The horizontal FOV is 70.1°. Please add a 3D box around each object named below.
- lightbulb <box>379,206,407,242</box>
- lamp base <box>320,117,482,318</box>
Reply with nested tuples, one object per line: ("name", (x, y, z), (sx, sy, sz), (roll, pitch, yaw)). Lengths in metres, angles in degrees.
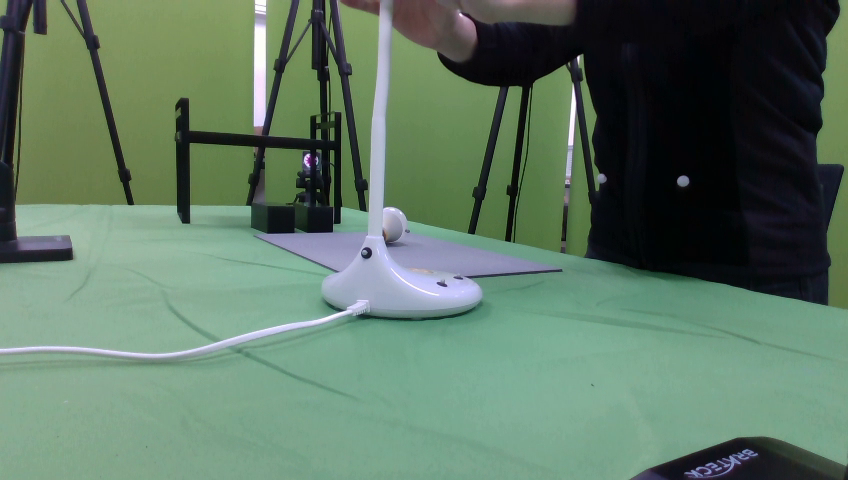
("lightbulb", (-0.067, -0.019, 1.001), (0.059, 0.059, 0.108), (5, 23, 19))
("lamp base", (-0.023, -0.025, 0.579), (0.160, 0.180, 0.179), (4, 10, 16))
